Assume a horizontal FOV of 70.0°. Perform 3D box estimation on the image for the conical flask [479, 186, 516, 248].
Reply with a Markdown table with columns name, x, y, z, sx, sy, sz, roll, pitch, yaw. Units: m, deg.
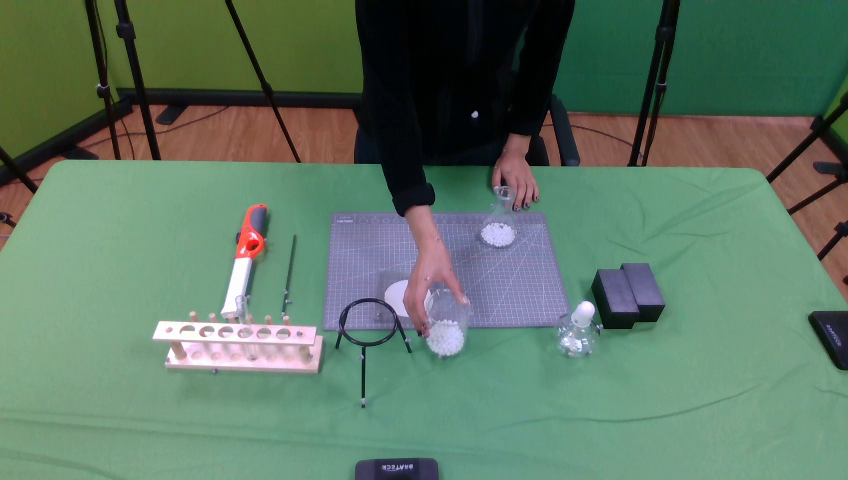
| name | x | y | z | sx | sy | sz | roll | pitch | yaw |
| --- | --- | --- | --- | --- | --- | --- | --- | --- | --- |
| conical flask | 0.151 | -0.049 | 1.186 | 0.075 | 0.122 | 0.075 | 2 | 46 | -2 |

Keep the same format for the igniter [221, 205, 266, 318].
| name | x | y | z | sx | sy | sz | roll | pitch | yaw |
| --- | --- | --- | --- | --- | --- | --- | --- | --- | --- |
| igniter | -0.337 | 0.031 | 1.140 | 0.057 | 0.025 | 0.274 | -5 | 46 | 4 |

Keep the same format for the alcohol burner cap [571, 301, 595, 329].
| name | x | y | z | sx | sy | sz | roll | pitch | yaw |
| --- | --- | --- | --- | --- | --- | --- | --- | --- | --- |
| alcohol burner cap | 0.262 | 0.120 | 0.991 | 0.034 | 0.048 | 0.033 | 2 | 52 | -2 |

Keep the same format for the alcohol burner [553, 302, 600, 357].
| name | x | y | z | sx | sy | sz | roll | pitch | yaw |
| --- | --- | --- | --- | --- | --- | --- | --- | --- | --- |
| alcohol burner | 0.260 | 0.144 | 1.018 | 0.078 | 0.119 | 0.077 | 3 | 44 | -3 |

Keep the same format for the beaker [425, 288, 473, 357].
| name | x | y | z | sx | sy | sz | roll | pitch | yaw |
| --- | --- | --- | --- | --- | --- | --- | --- | --- | --- |
| beaker | 0.036 | 0.138 | 1.005 | 0.074 | 0.101 | 0.083 | -16 | 49 | -17 |

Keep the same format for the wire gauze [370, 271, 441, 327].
| name | x | y | z | sx | sy | sz | roll | pitch | yaw |
| --- | --- | --- | --- | --- | --- | --- | --- | --- | --- |
| wire gauze | -0.032 | 0.103 | 1.104 | 0.125 | 0.011 | 0.121 | 4 | 46 | 3 |

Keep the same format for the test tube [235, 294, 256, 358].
| name | x | y | z | sx | sy | sz | roll | pitch | yaw |
| --- | --- | --- | --- | --- | --- | --- | --- | --- | --- |
| test tube | -0.274 | 0.136 | 0.933 | 0.017 | 0.151 | 0.017 | 4 | 45 | -4 |

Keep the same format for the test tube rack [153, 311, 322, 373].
| name | x | y | z | sx | sy | sz | roll | pitch | yaw |
| --- | --- | --- | --- | --- | --- | --- | --- | --- | --- |
| test tube rack | -0.293 | 0.160 | 0.977 | 0.242 | 0.085 | 0.066 | 3 | 46 | -2 |

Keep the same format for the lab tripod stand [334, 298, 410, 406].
| name | x | y | z | sx | sy | sz | roll | pitch | yaw |
| --- | --- | --- | --- | --- | --- | --- | --- | --- | --- |
| lab tripod stand | -0.086 | 0.164 | 0.957 | 0.148 | 0.132 | 0.147 | 3 | 44 | -2 |

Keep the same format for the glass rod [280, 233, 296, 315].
| name | x | y | z | sx | sy | sz | roll | pitch | yaw |
| --- | --- | --- | --- | --- | --- | --- | --- | --- | --- |
| glass rod | -0.252 | 0.059 | 1.131 | 0.008 | 0.008 | 0.198 | 1 | 47 | -3 |
